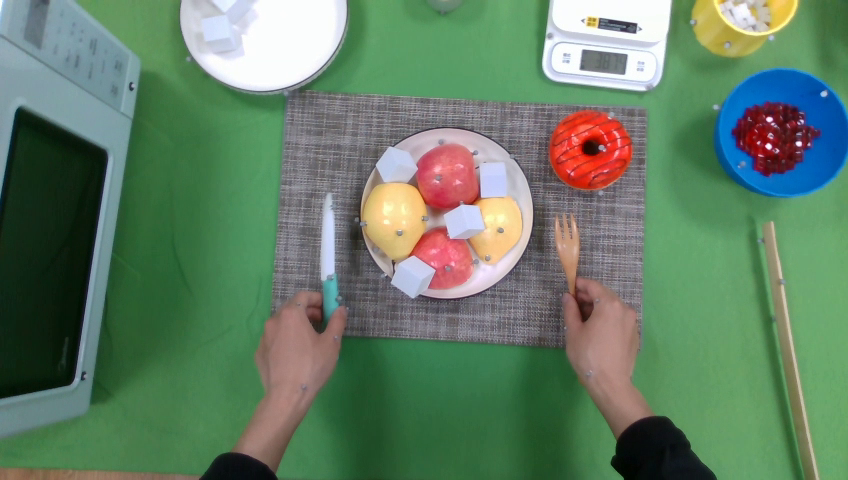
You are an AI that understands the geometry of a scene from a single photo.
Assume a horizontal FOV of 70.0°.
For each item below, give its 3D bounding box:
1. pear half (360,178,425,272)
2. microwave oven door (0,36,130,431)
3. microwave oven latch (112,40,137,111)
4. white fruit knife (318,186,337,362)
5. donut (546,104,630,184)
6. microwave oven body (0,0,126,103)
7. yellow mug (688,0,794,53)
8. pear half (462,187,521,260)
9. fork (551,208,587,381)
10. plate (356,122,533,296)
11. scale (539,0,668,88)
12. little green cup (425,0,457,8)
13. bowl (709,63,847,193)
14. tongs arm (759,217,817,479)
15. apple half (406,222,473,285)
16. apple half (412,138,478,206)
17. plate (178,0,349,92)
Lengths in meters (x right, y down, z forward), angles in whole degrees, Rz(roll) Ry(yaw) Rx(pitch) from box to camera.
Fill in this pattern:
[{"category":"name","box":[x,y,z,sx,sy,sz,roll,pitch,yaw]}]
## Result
[{"category":"pear half","box":[-0.035,-0.018,0.704,0.076,0.056,0.109,-3,89,-7]},{"category":"microwave oven door","box":[-0.394,0.008,0.609,0.039,0.244,0.355,5,84,1]},{"category":"microwave oven latch","box":[-0.368,-0.198,0.730,0.030,0.029,0.079,7,85,1]},{"category":"white fruit knife","box":[-0.114,0.041,0.704,0.027,0.016,0.207,3,95,36]},{"category":"donut","box":[0.196,-0.115,0.730,0.099,0.048,0.099,0,85,3]},{"category":"microwave oven body","box":[-0.535,-0.048,0.621,0.326,0.260,0.440,6,85,1]},{"category":"yellow mug","box":[0.377,-0.302,0.739,0.100,0.064,0.130,-29,84,-2]},{"category":"pear half","box":[0.078,-0.021,0.719,0.070,0.031,0.088,4,83,15]},{"category":"fork","box":[0.173,0.065,0.710,0.028,0.018,0.208,-8,99,8]},{"category":"plate","box":[0.025,-0.036,0.727,0.209,0.038,0.208,0,85,0]},{"category":"scale","box":[0.228,-0.297,0.757,0.148,0.031,0.200,7,85,2]},{"category":"little green cup","box":[0.022,-0.324,0.758,0.061,0.039,0.061,0,84,1]},{"category":"bowl","box":[0.402,-0.123,0.717,0.151,0.077,0.151,0,85,1]},{"category":"tongs arm","box":[0.448,0.161,0.711,0.051,0.026,0.384,-5,86,-3]},{"category":"apple half","box":[0.018,0.015,0.714,0.081,0.033,0.081,0,79,-1]},{"category":"apple half","box":[0.024,-0.082,0.714,0.074,0.053,0.080,-9,88,2]},{"category":"plate","box":[-0.196,-0.283,0.756,0.208,0.039,0.207,0,85,0]}]
